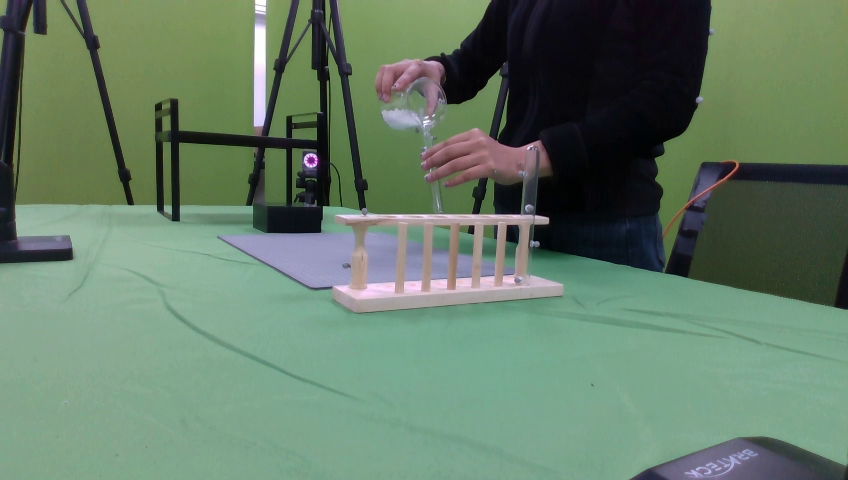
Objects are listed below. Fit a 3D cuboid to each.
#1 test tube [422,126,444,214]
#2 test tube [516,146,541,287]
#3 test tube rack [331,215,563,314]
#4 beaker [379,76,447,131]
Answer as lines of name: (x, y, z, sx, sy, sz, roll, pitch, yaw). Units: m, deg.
test tube: (0.013, -0.107, 0.911, 0.017, 0.150, 0.017, -7, -25, -3)
test tube: (0.110, -0.024, 0.638, 0.017, 0.150, 0.017, 4, 6, 0)
test tube rack: (0.031, 0.019, 0.625, 0.243, 0.085, 0.066, -1, 8, -28)
beaker: (-0.021, -0.215, 0.978, 0.074, 0.084, 0.100, -5, 6, -32)
